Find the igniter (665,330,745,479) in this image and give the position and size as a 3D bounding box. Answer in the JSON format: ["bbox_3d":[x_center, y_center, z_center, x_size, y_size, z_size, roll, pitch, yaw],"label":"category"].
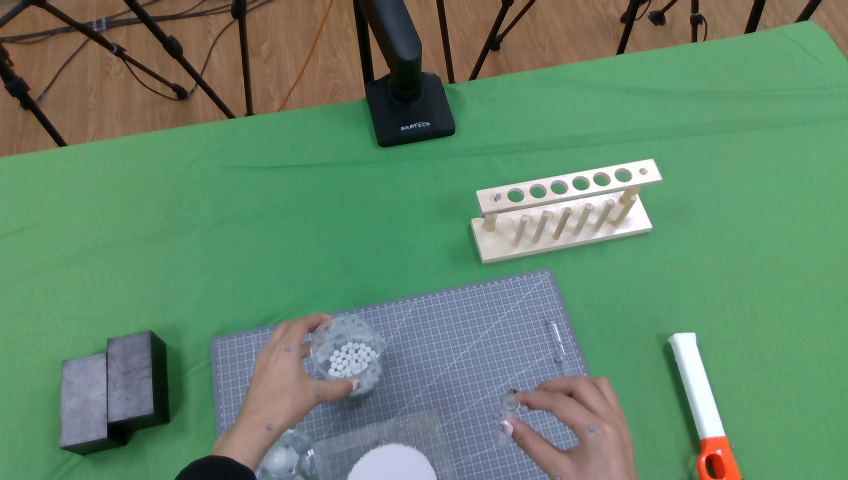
[{"bbox_3d":[0.335,0.238,0.706,0.057,0.025,0.274,0,62,-13],"label":"igniter"}]

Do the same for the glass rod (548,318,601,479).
[{"bbox_3d":[0.181,0.189,0.734,0.008,0.008,0.198,-10,66,-7],"label":"glass rod"}]

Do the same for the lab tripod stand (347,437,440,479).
[{"bbox_3d":[-0.032,0.261,0.619,0.148,0.132,0.147,0,62,0],"label":"lab tripod stand"}]

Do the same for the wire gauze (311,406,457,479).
[{"bbox_3d":[-0.033,0.227,0.561,0.125,0.011,0.120,-14,63,-9],"label":"wire gauze"}]

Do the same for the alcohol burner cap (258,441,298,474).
[{"bbox_3d":[-0.149,0.218,0.609,0.034,0.048,0.033,-1,68,3],"label":"alcohol burner cap"}]

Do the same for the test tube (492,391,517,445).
[{"bbox_3d":[0.072,0.164,0.547,0.017,0.151,0.017,-2,60,3],"label":"test tube"}]

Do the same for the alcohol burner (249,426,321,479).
[{"bbox_3d":[-0.150,0.233,0.641,0.078,0.120,0.077,1,61,-1],"label":"alcohol burner"}]

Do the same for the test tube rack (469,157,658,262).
[{"bbox_3d":[0.188,-0.040,0.811,0.243,0.086,0.066,-11,63,-7],"label":"test tube rack"}]

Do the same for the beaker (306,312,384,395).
[{"bbox_3d":[-0.085,0.134,0.695,0.084,0.101,0.073,-4,64,-2],"label":"beaker"}]
